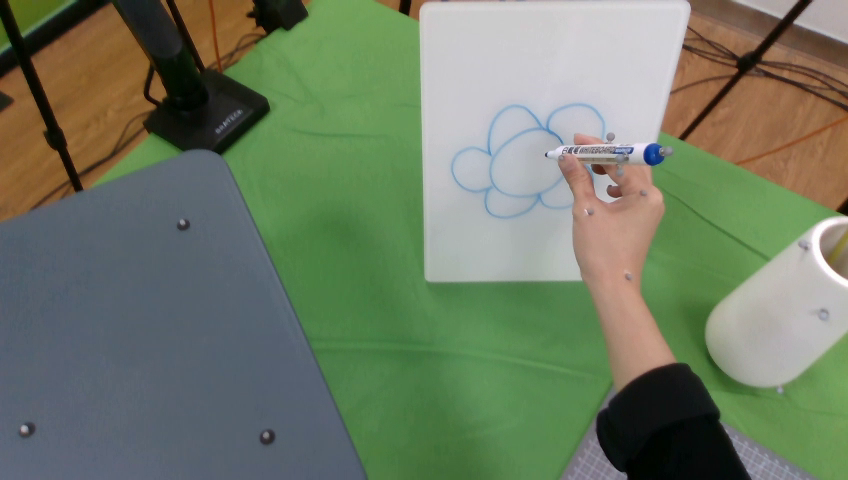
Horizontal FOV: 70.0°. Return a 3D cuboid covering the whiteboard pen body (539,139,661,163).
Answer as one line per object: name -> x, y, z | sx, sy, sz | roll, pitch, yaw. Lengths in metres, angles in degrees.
whiteboard pen body -> 0.128, -0.069, 0.470 | 0.017, 0.140, 0.017 | -4, 99, -21

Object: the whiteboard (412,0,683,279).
whiteboard -> 0.100, -0.119, 0.624 | 0.217, 0.308, 0.142 | 0, 40, 1

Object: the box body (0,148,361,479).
box body -> -0.229, 0.132, 0.522 | 0.254, 0.161, 0.360 | -25, 63, -14

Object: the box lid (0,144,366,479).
box lid -> -0.230, 0.092, 0.459 | 0.263, 0.015, 0.368 | -24, 63, -14

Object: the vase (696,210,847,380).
vase -> 0.325, 0.054, 0.549 | 0.098, 0.201, 0.097 | 0, 58, 1

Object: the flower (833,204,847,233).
flower -> 0.326, -0.002, 0.486 | 0.044, 0.364, 0.038 | 25, 45, 18
